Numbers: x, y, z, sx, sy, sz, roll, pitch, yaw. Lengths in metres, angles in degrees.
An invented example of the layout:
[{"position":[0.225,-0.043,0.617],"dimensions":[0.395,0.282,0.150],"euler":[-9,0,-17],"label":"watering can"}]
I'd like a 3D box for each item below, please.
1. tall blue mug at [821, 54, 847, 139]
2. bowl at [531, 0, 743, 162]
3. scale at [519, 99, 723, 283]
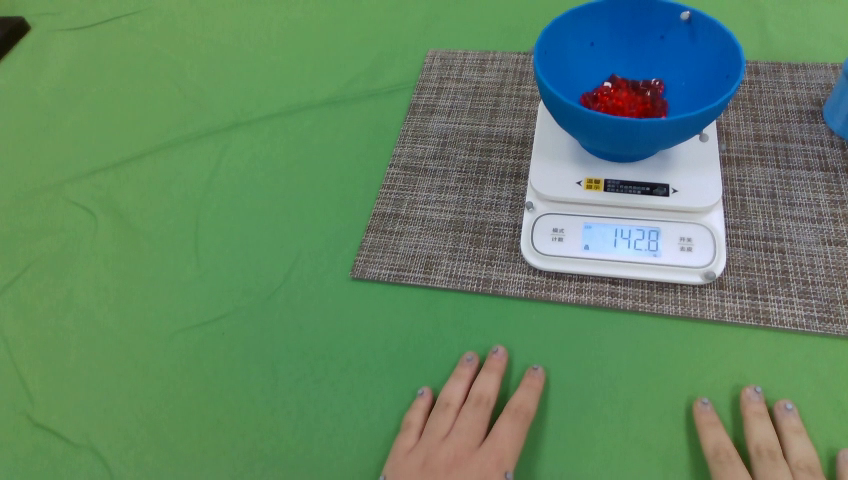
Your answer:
[{"position":[0.383,-0.127,0.471],"dimensions":[0.078,0.109,0.106],"euler":[-19,52,-8],"label":"tall blue mug"},{"position":[0.158,-0.115,0.475],"dimensions":[0.151,0.077,0.150],"euler":[-3,53,5],"label":"bowl"},{"position":[0.161,-0.058,0.498],"dimensions":[0.148,0.032,0.199],"euler":[5,54,12],"label":"scale"}]
